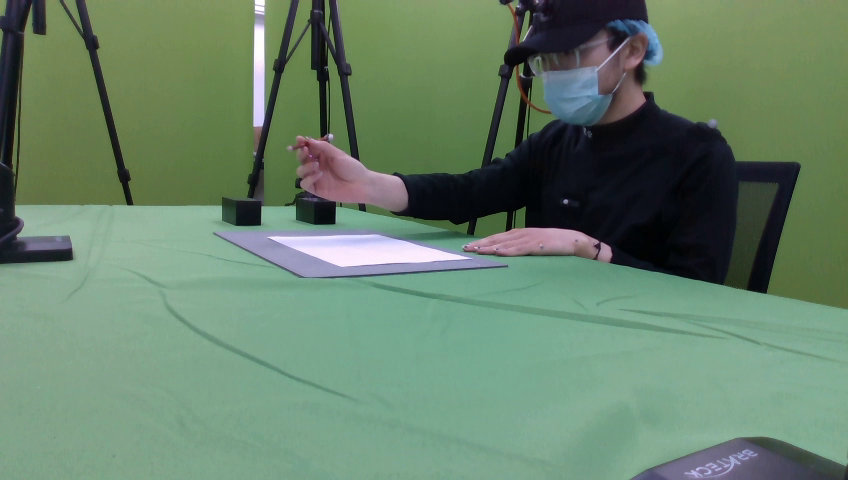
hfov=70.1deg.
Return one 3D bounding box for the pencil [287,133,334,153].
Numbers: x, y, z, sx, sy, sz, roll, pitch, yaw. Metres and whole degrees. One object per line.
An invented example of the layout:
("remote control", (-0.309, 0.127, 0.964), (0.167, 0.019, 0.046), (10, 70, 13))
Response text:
("pencil", (-0.192, -0.166, 1.037), (0.012, 0.012, 0.194), (4, 18, 12))
